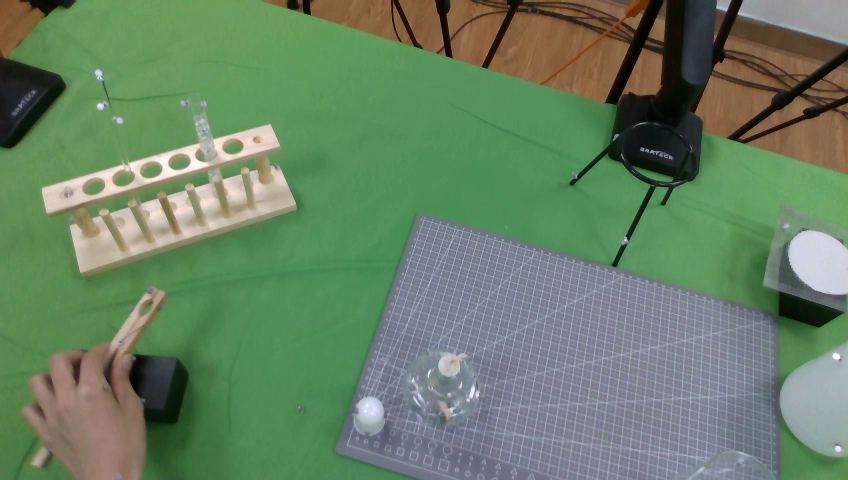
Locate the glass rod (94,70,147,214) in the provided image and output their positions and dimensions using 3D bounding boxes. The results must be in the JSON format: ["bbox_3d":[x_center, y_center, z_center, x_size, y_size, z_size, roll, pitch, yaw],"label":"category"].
[{"bbox_3d":[-0.309,-0.090,0.622,0.008,0.201,0.008,5,52,-7],"label":"glass rod"}]

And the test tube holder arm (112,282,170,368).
[{"bbox_3d":[-0.271,0.080,0.575,0.010,0.015,0.087,26,63,1],"label":"test tube holder arm"}]

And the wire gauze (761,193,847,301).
[{"bbox_3d":[0.465,0.011,0.712,0.121,0.011,0.124,23,61,7],"label":"wire gauze"}]

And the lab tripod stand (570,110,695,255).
[{"bbox_3d":[0.251,-0.074,0.722,0.148,0.132,0.147,3,62,-6],"label":"lab tripod stand"}]

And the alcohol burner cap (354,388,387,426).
[{"bbox_3d":[-0.054,0.165,0.605,0.034,0.048,0.033,2,62,-3],"label":"alcohol burner cap"}]

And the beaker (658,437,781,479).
[{"bbox_3d":[0.268,0.232,0.568,0.084,0.101,0.073,13,60,3],"label":"beaker"}]

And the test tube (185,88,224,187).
[{"bbox_3d":[-0.235,-0.105,0.657,0.017,0.151,0.017,4,58,-6],"label":"test tube"}]

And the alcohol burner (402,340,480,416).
[{"bbox_3d":[0.019,0.129,0.591,0.078,0.120,0.077,4,60,-6],"label":"alcohol burner"}]

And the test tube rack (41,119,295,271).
[{"bbox_3d":[-0.276,-0.052,0.680,0.243,0.086,0.066,-20,65,-17],"label":"test tube rack"}]

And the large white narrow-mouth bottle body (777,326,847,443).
[{"bbox_3d":[0.444,0.130,0.593,0.102,0.196,0.101,2,60,-4],"label":"large white narrow-mouth bottle body"}]

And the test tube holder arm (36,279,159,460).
[{"bbox_3d":[-0.293,0.114,0.554,0.013,0.015,0.177,25,63,0],"label":"test tube holder arm"}]
